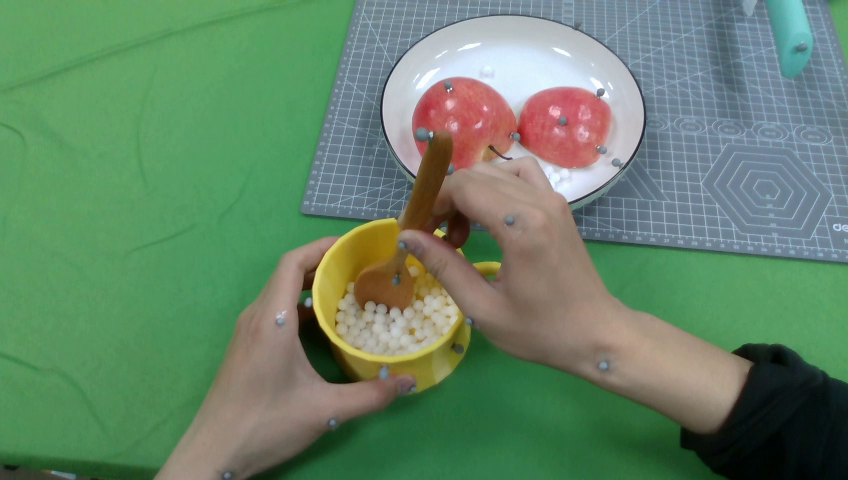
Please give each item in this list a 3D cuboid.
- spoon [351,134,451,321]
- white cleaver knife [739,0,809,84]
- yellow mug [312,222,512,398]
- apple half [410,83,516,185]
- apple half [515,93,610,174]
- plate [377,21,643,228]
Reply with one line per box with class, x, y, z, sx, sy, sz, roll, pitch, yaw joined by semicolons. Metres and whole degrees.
spoon;-0.012;0.005;0.344;0.042;0.194;0.021;16;61;-6
white cleaver knife;0.306;-0.241;0.555;0.021;0.066;0.284;4;56;9
yellow mug;-0.004;0.043;0.401;0.131;0.064;0.099;-14;62;-8
apple half;0.029;-0.091;0.472;0.081;0.054;0.074;-33;61;-16
apple half;0.111;-0.094;0.482;0.081;0.033;0.080;0;62;1
plate;0.067;-0.094;0.492;0.209;0.038;0.207;0;60;1
